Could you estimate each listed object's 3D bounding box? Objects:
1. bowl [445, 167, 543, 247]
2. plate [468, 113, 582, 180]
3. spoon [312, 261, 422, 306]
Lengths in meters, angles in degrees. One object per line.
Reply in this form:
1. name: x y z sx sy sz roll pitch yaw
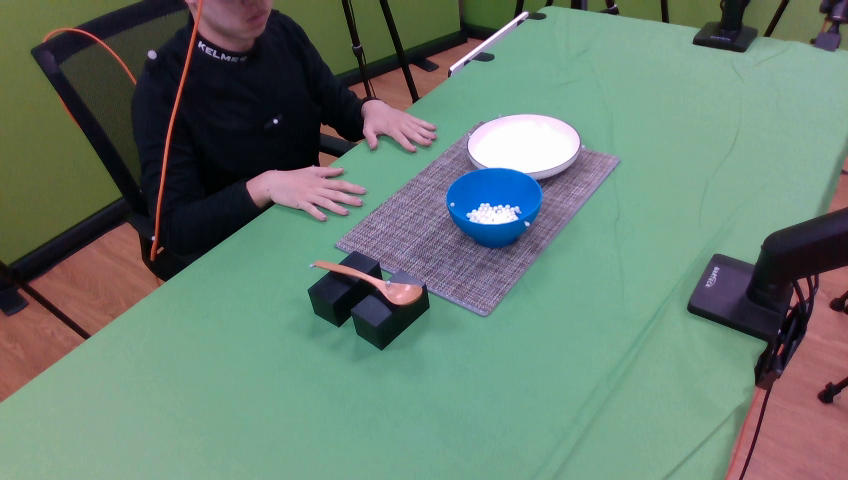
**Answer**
1. bowl: 0.111 -0.042 0.952 0.151 0.077 0.150 -4 41 4
2. plate: 0.186 -0.169 1.122 0.207 0.039 0.206 -4 40 4
3. spoon: -0.084 0.055 0.842 0.192 0.022 0.042 19 46 29
